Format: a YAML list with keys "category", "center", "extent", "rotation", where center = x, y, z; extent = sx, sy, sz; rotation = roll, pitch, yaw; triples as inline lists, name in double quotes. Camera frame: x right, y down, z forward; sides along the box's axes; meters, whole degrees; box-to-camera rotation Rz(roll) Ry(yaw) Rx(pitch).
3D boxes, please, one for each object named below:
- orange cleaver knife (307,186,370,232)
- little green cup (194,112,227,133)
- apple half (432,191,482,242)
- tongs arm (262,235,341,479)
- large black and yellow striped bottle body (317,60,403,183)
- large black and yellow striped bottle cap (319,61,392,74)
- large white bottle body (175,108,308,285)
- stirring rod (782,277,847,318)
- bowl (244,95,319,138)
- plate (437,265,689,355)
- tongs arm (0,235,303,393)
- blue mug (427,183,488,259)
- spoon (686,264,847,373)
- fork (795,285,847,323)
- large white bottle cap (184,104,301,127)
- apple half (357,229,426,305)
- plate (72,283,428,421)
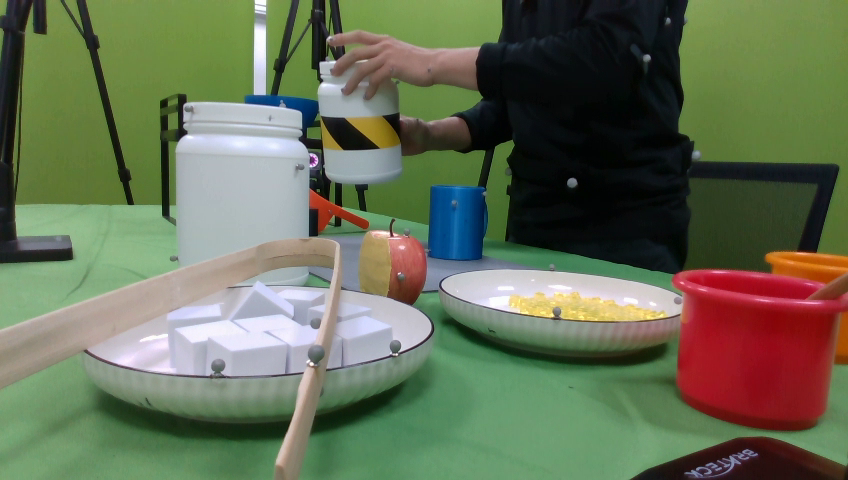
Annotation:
- category: "orange cleaver knife"
  center: [-0.196, -0.056, 1.140]
  extent: [0.212, 0.077, 0.012]
  rotation: [29, 0, -34]
- category: "little green cup"
  center: [-0.412, -0.228, 1.171]
  extent: [0.061, 0.038, 0.061]
  rotation: [2, 8, 0]
- category: "apple half"
  center: [0.048, -0.037, 0.906]
  extent: [0.081, 0.081, 0.033]
  rotation: [2, 15, 0]
- category: "tongs arm"
  center: [-0.073, 0.039, 0.349]
  extent: [0.051, 0.026, 0.384]
  rotation: [-1, 9, -3]
- category: "large black and yellow striped bottle body"
  center: [-0.103, -0.194, 0.983]
  extent: [0.131, 0.184, 0.130]
  rotation: [-2, 18, 1]
- category: "large black and yellow striped bottle cap"
  center: [-0.109, -0.273, 0.956]
  extent: [0.115, 0.019, 0.115]
  rotation: [-1, 17, 1]
- category: "large white bottle body"
  center: [-0.188, -0.042, 0.630]
  extent: [0.131, 0.184, 0.130]
  rotation: [2, 8, 0]
- category: "stirring rod"
  center: [0.344, 0.019, 0.461]
  extent: [0.014, 0.006, 0.176]
  rotation: [-13, -27, -30]
- category: "bowl"
  center: [-0.293, -0.251, 1.249]
  extent: [0.151, 0.077, 0.151]
  rotation: [2, 8, 0]
- category: "plate"
  center: [0.114, 0.057, 0.517]
  extent: [0.209, 0.038, 0.209]
  rotation: [3, 8, 0]
- category: "tongs arm"
  center: [-0.157, 0.037, 0.351]
  extent: [0.028, 0.028, 0.388]
  rotation: [-3, 8, 12]
- category: "blue mug"
  center: [0.059, -0.031, 0.907]
  extent: [0.082, 0.106, 0.117]
  rotation: [9, 9, 42]
- category: "spoon"
  center: [0.214, 0.032, 0.328]
  extent: [0.042, 0.021, 0.193]
  rotation: [-3, -35, -26]
- category: "fork"
  center: [0.332, 0.018, 0.443]
  extent: [0.028, 0.018, 0.207]
  rotation: [-1, -35, -16]
- category: "large white bottle cap"
  center: [-0.184, -0.126, 0.618]
  extent: [0.115, 0.018, 0.115]
  rotation: [2, 8, 0]
- category: "apple half"
  center: [-0.026, 0.028, 0.570]
  extent: [0.053, 0.074, 0.080]
  rotation: [3, 2, -28]
- category: "plate"
  center: [-0.102, 0.066, 0.381]
  extent: [0.208, 0.039, 0.207]
  rotation: [2, 7, 0]
